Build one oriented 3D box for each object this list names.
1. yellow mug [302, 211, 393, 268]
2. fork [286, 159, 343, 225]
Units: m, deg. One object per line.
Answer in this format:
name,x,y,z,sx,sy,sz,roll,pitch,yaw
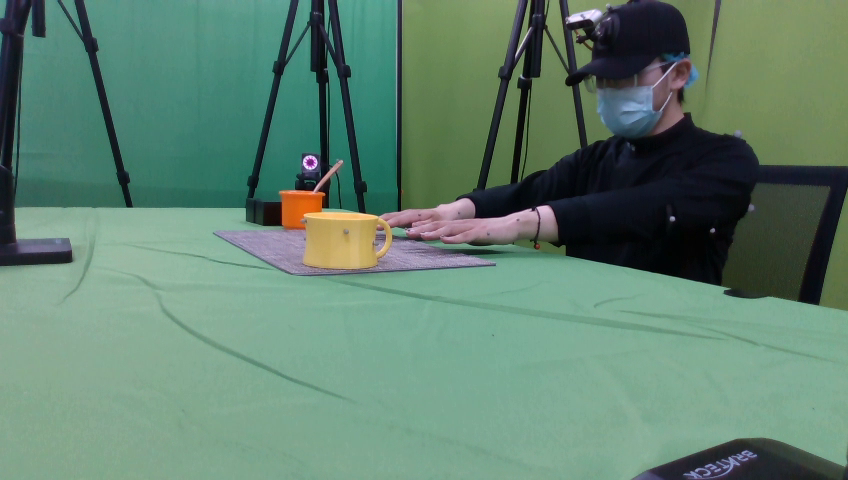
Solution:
yellow mug,-0.098,-0.003,0.810,0.131,0.064,0.099,-2,8,-37
fork,-0.222,-0.102,1.252,0.028,0.019,0.207,8,52,30
